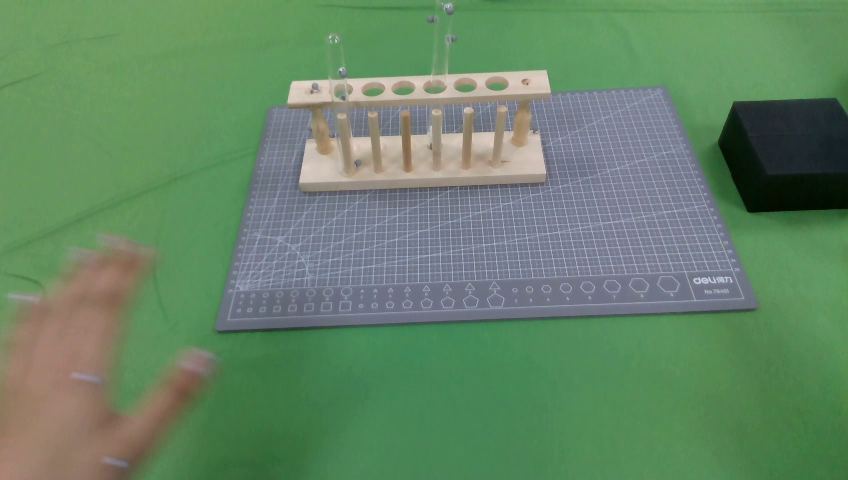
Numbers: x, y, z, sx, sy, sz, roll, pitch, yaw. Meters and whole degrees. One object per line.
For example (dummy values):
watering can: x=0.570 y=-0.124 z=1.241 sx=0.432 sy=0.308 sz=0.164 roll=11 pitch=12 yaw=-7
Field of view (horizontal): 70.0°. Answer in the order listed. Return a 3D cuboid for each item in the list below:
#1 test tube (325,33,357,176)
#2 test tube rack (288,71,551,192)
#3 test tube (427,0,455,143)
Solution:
test tube: x=-0.074 y=-0.116 z=0.543 sx=0.017 sy=0.152 sz=0.017 roll=1 pitch=50 yaw=0
test tube rack: x=-0.003 y=-0.104 z=0.587 sx=0.242 sy=0.086 sz=0.066 roll=-2 pitch=50 yaw=2
test tube: x=0.014 y=-0.150 z=0.559 sx=0.017 sy=0.151 sz=0.017 roll=2 pitch=48 yaw=-2
